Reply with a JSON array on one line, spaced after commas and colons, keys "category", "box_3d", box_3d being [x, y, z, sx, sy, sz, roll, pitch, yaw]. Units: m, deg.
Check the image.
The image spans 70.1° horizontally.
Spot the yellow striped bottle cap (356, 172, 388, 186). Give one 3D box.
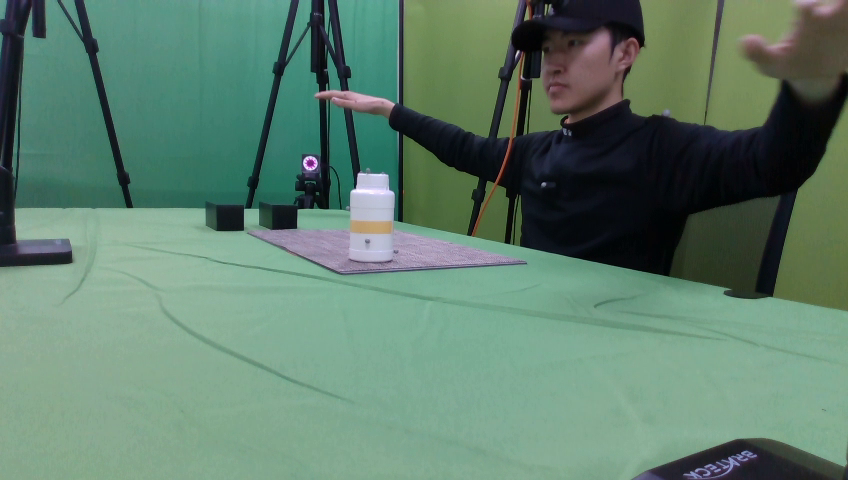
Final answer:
[{"category": "yellow striped bottle cap", "box_3d": [-0.072, -0.085, 0.839, 0.044, 0.018, 0.044, 3, 9, 0]}]

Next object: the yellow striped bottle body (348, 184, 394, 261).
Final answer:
[{"category": "yellow striped bottle body", "box_3d": [-0.073, -0.034, 0.845, 0.063, 0.120, 0.063, 2, 7, 0]}]
